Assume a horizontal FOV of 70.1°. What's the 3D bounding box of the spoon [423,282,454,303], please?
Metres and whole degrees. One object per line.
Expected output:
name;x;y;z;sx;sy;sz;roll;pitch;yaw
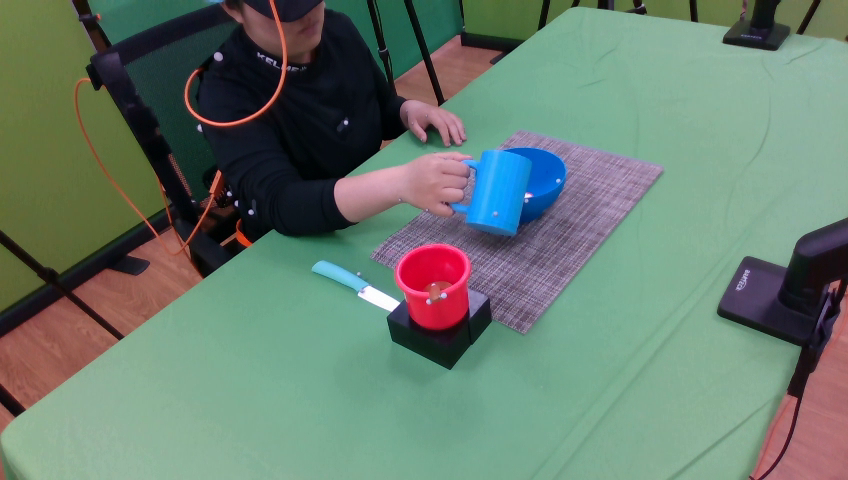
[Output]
spoon;0.015;0.062;0.733;0.041;0.021;0.194;-5;-4;3

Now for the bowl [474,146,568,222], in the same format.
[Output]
bowl;0.161;-0.083;1.001;0.151;0.077;0.150;-5;40;5

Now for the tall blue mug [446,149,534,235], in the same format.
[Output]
tall blue mug;0.094;-0.072;0.865;0.108;0.108;0.077;16;-5;-20

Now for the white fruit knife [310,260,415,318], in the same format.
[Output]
white fruit knife;-0.094;0.074;0.920;0.206;0.016;0.027;24;77;31
